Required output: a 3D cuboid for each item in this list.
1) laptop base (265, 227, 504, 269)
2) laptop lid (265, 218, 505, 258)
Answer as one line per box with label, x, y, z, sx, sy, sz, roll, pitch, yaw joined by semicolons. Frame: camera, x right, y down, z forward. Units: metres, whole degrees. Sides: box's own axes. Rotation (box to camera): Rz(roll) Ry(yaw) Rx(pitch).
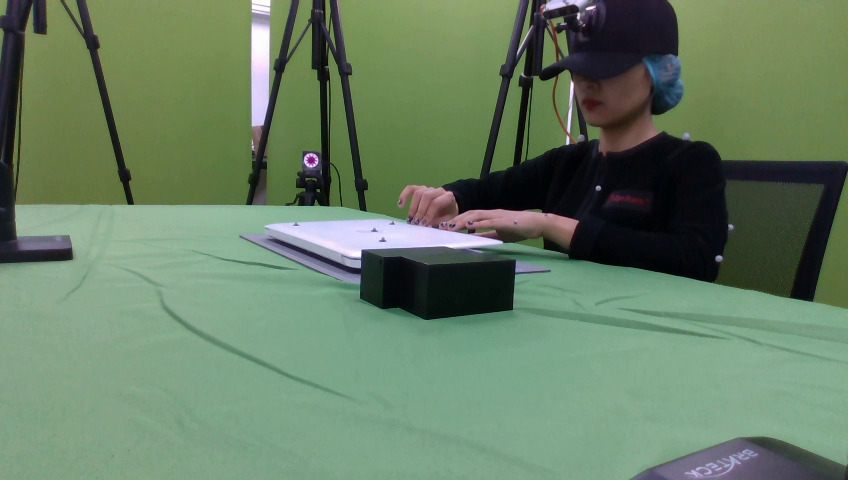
laptop base;-0.077;0.009;0.914;0.237;0.023;0.352;1;7;-33
laptop lid;-0.075;-0.011;0.912;0.243;0.013;0.355;-3;9;-30
